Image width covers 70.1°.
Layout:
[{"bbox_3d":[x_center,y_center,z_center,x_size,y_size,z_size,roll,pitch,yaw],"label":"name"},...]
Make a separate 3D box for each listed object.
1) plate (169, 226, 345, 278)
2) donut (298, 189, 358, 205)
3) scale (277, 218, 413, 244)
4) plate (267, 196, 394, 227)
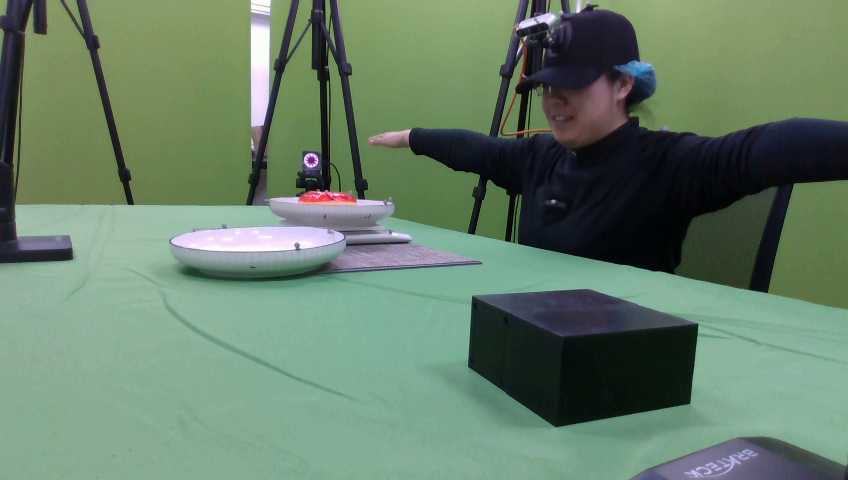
[{"bbox_3d":[-0.202,0.013,0.748,0.209,0.038,0.209,1,9,0],"label":"plate"},{"bbox_3d":[-0.158,-0.059,0.996,0.099,0.048,0.099,2,4,0],"label":"donut"},{"bbox_3d":[-0.134,-0.016,1.015,0.202,0.031,0.148,-2,9,-33],"label":"scale"},{"bbox_3d":[-0.152,-0.047,0.998,0.208,0.039,0.207,2,7,0],"label":"plate"}]
